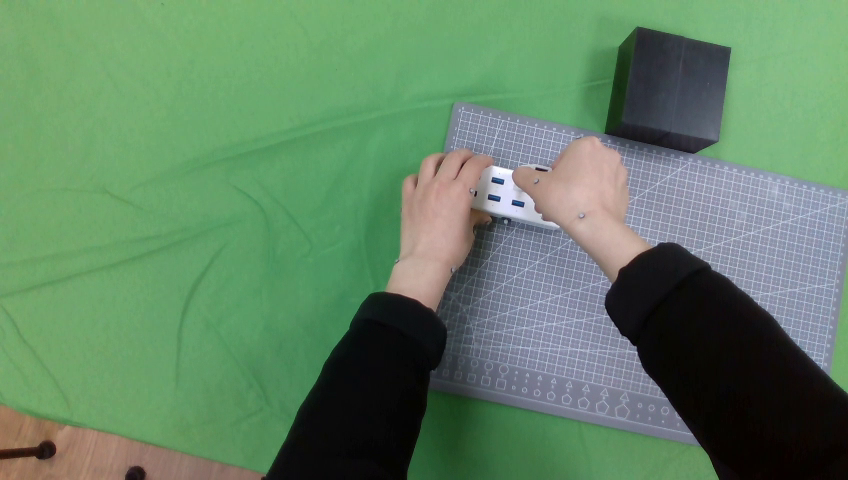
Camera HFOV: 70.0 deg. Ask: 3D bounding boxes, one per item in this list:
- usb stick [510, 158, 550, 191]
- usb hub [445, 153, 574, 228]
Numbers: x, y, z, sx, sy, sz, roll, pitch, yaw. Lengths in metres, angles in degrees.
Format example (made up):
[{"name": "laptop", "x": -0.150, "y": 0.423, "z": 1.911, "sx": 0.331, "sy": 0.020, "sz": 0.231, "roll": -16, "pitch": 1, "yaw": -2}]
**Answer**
[{"name": "usb stick", "x": 0.100, "y": -0.062, "z": 0.587, "sx": 0.021, "sy": 0.059, "sz": 0.027, "roll": 18, "pitch": 86, "yaw": -10}, {"name": "usb hub", "x": 0.088, "y": -0.051, "z": 0.625, "sx": 0.125, "sy": 0.025, "sz": 0.049, "roll": 14, "pitch": 87, "yaw": -3}]
